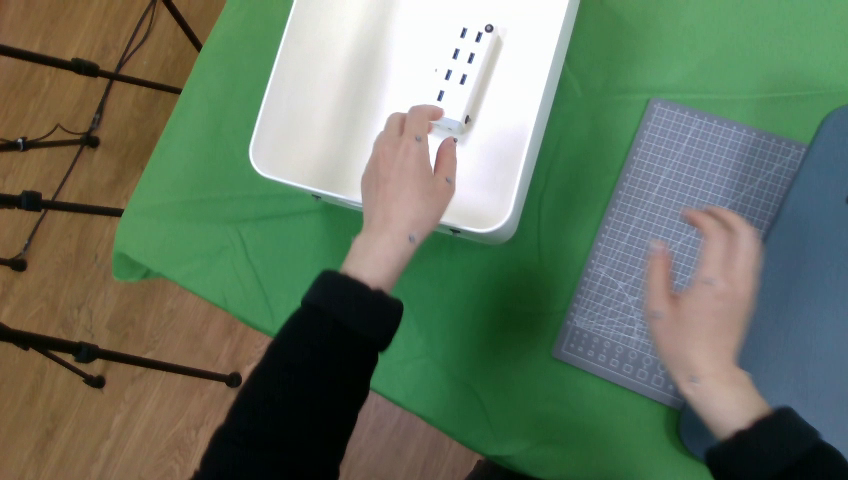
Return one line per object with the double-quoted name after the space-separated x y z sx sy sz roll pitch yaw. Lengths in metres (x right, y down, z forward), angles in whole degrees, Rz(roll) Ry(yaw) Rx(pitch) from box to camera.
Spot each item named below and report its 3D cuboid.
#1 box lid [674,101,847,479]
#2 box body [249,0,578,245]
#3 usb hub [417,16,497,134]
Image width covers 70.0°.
0.423 0.084 0.553 0.262 0.015 0.372 23 100 13 "box lid"
0.012 -0.193 0.625 0.253 0.161 0.363 14 86 12 "box body"
0.038 -0.185 0.681 0.049 0.025 0.125 21 87 14 "usb hub"
